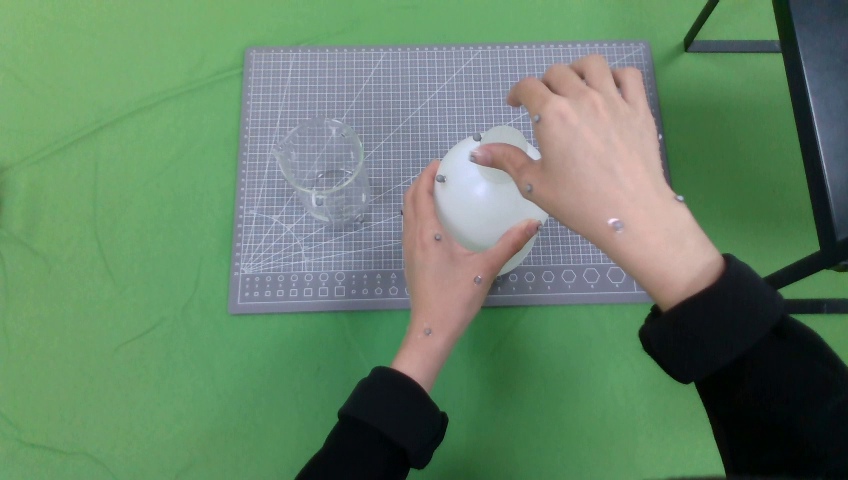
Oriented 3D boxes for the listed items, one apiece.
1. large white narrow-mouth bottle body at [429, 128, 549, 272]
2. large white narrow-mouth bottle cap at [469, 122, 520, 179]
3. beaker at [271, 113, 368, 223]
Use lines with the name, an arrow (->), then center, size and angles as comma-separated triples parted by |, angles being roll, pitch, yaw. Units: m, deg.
large white narrow-mouth bottle body -> 0.055, -0.039, 0.524 | 0.102, 0.195, 0.101 | 0, 74, 2
large white narrow-mouth bottle cap -> 0.051, -0.064, 0.439 | 0.038, 0.024, 0.037 | 0, 74, 1
beaker -> -0.095, -0.064, 0.578 | 0.084, 0.101, 0.073 | 8, 73, 3
